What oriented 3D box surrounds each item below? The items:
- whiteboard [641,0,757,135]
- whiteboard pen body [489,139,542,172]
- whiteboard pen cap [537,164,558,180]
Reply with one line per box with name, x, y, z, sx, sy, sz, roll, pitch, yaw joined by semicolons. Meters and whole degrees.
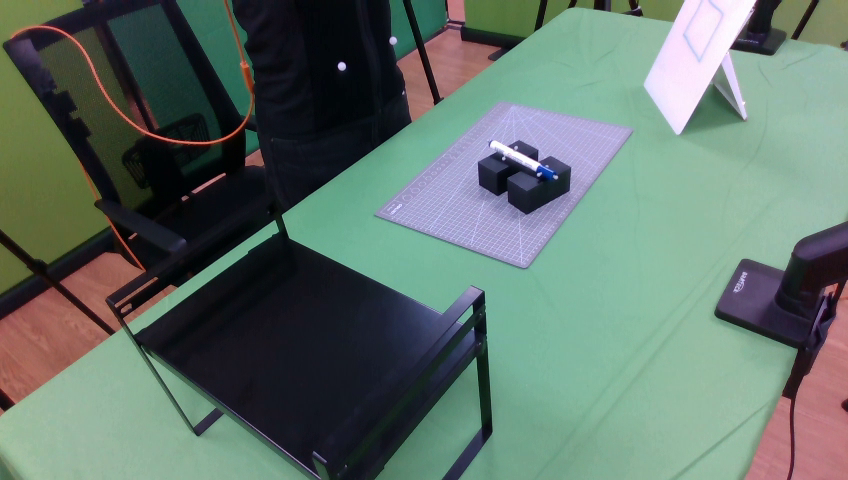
whiteboard;0.576;-0.367;1.147;0.144;0.305;0.216;10;39;-10
whiteboard pen body;0.165;-0.141;1.032;0.017;0.017;0.139;-33;50;-27
whiteboard pen cap;0.203;-0.113;0.999;0.018;0.018;0.033;-33;49;-26
